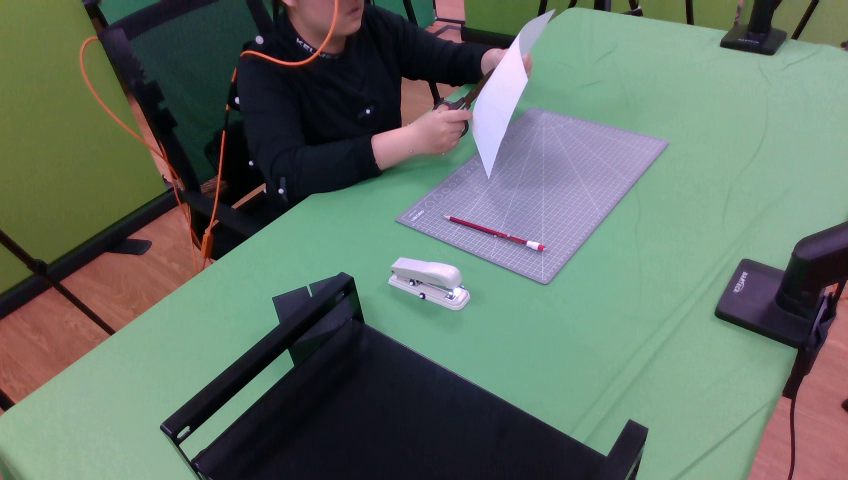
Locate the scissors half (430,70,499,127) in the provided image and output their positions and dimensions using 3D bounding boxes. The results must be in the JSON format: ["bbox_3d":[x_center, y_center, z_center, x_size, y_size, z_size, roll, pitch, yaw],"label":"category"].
[{"bbox_3d":[0.072,-0.259,1.101,0.174,0.040,0.013,-27,11,40],"label":"scissors half"}]

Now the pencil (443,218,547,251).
[{"bbox_3d":[0.110,-0.012,0.980,0.192,0.012,0.012,18,46,30],"label":"pencil"}]

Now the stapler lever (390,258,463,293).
[{"bbox_3d":[0.003,0.046,0.881,0.117,0.040,0.027,17,44,29],"label":"stapler lever"}]

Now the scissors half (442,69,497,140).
[{"bbox_3d":[0.085,-0.244,1.102,0.040,0.175,0.013,37,42,1],"label":"scissors half"}]

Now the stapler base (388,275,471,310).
[{"bbox_3d":[0.007,0.066,0.897,0.129,0.024,0.041,17,44,29],"label":"stapler base"}]
